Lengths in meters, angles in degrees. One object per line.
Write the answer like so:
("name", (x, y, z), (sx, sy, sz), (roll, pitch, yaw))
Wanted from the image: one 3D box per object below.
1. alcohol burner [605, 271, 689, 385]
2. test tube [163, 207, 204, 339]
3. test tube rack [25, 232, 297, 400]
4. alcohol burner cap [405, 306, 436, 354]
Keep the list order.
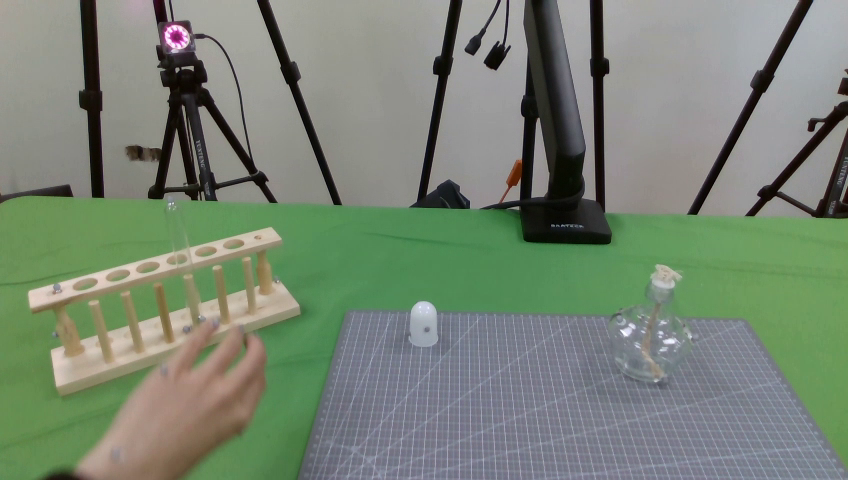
("alcohol burner", (0.218, 0.080, 0.582), (0.078, 0.120, 0.077), (2, 30, -1))
("test tube", (-0.239, 0.036, 0.605), (0.017, 0.151, 0.017), (1, 30, 0))
("test tube rack", (-0.263, 0.072, 0.634), (0.243, 0.086, 0.066), (-17, 34, -28))
("alcohol burner cap", (-0.004, 0.092, 0.636), (0.034, 0.048, 0.033), (0, 29, 0))
